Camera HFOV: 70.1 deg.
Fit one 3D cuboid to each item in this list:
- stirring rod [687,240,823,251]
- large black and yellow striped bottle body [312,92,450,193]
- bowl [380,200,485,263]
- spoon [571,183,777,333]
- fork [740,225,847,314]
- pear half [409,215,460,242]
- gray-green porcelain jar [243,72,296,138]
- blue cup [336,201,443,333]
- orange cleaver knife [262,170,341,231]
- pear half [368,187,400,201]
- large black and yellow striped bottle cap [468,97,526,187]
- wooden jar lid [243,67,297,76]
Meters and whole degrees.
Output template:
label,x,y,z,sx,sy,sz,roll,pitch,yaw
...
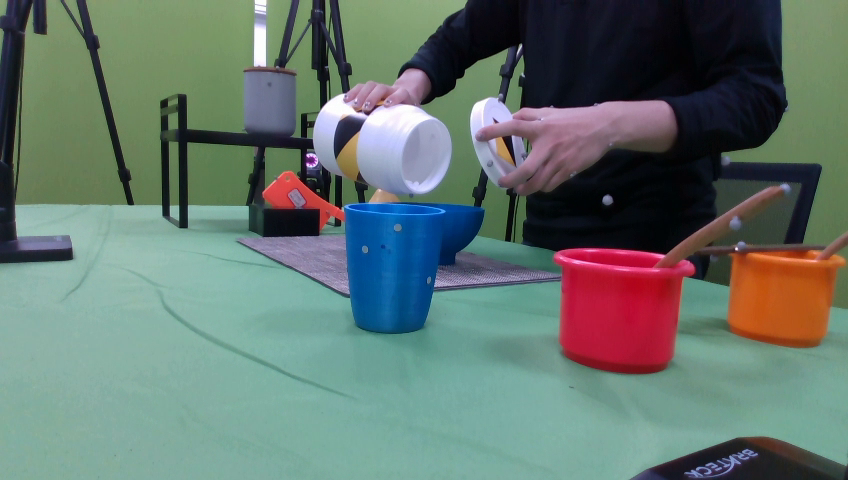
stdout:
label,x,y,z,sx,sy,sz,roll,pitch,yaw
stirring rod,0.289,0.005,0.525,0.177,0.006,0.014,-1,6,-26
large black and yellow striped bottle body,-0.063,-0.144,0.903,0.183,0.130,0.131,22,18,38
bowl,0.008,-0.013,0.841,0.151,0.077,0.151,2,7,0
spoon,0.161,0.020,0.413,0.042,0.021,0.193,1,-36,-24
fork,0.323,0.013,0.485,0.028,0.018,0.207,9,-38,-5
pear half,0.012,-0.019,0.848,0.070,0.031,0.088,3,10,33
gray-green porcelain jar,-0.322,-0.279,1.263,0.106,0.126,0.106,3,8,0
blue cup,-0.029,0.021,0.508,0.093,0.100,0.092,3,9,0
orange cleaver knife,-0.201,-0.057,1.136,0.212,0.077,0.012,31,-3,-31
pear half,-0.064,-0.061,1.077,0.055,0.110,0.077,9,14,39
large black and yellow striped bottle cap,0.094,-0.123,0.756,0.018,0.115,0.115,-17,-4,34
wooden jar lid,-0.319,-0.342,1.254,0.108,0.020,0.108,3,8,0
